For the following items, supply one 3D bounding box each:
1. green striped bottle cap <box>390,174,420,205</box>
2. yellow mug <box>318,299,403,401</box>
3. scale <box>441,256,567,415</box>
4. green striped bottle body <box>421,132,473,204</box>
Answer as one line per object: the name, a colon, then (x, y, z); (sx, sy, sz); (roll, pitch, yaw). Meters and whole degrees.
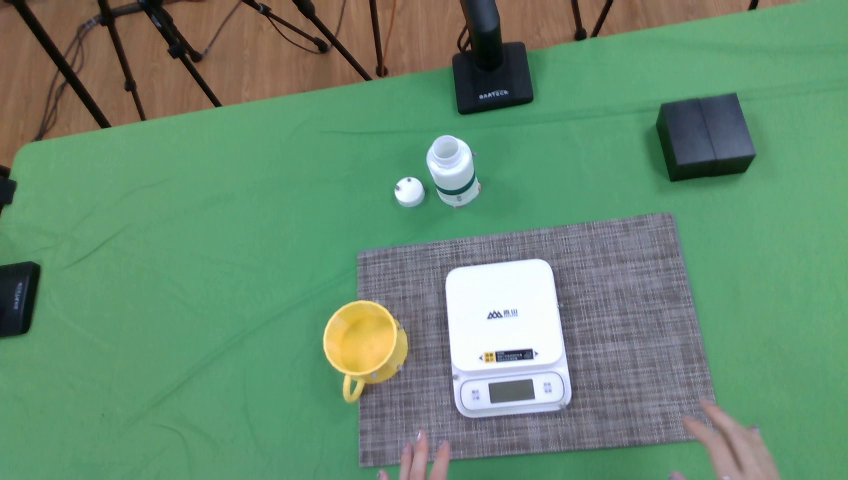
green striped bottle cap: (-0.029, -0.077, 0.918); (0.044, 0.020, 0.044); (-2, 74, 8)
yellow mug: (-0.087, 0.149, 0.805); (0.099, 0.064, 0.130); (10, 71, 15)
scale: (0.102, 0.123, 0.798); (0.148, 0.032, 0.199); (-8, 68, 8)
green striped bottle body: (0.033, -0.104, 0.859); (0.063, 0.120, 0.062); (-4, 67, 9)
